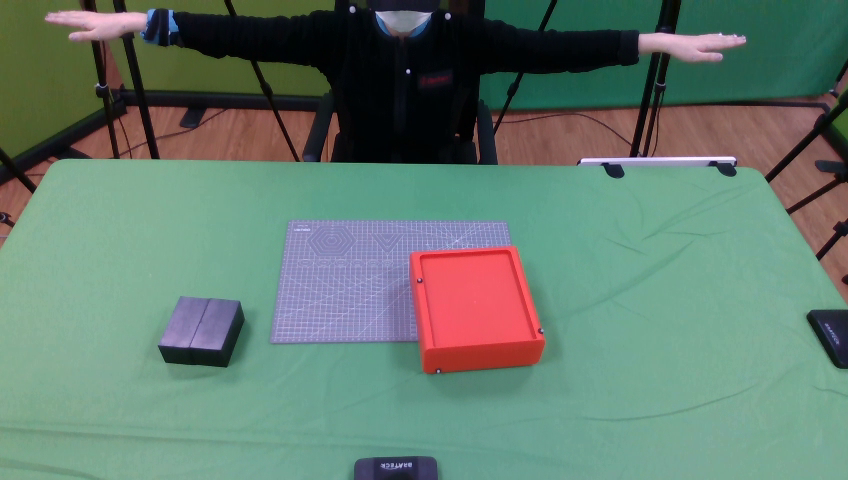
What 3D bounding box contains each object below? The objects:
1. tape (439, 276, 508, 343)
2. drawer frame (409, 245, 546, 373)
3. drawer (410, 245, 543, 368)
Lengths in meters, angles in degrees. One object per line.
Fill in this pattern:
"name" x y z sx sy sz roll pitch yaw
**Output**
"tape" 0.084 0.119 1.052 0.117 0.053 0.116 2 45 -2
"drawer frame" 0.084 0.113 1.049 0.202 0.083 0.212 -4 47 -8
"drawer" 0.083 0.111 1.051 0.195 0.073 0.210 -3 47 -8
